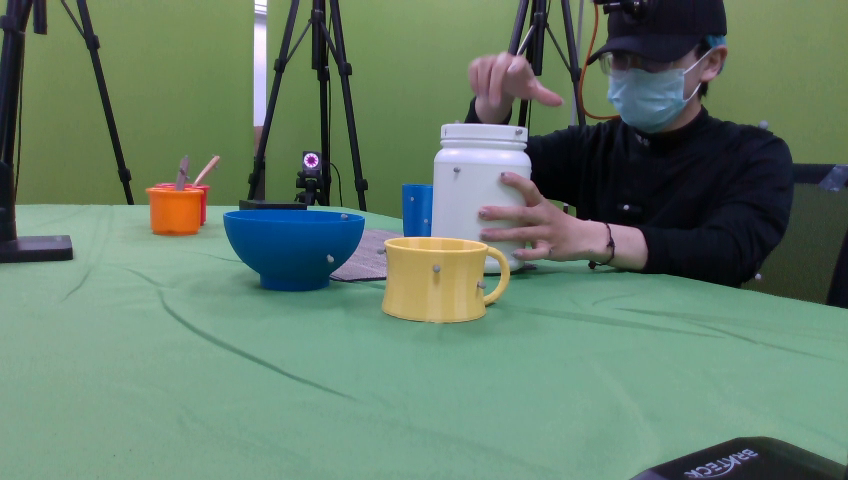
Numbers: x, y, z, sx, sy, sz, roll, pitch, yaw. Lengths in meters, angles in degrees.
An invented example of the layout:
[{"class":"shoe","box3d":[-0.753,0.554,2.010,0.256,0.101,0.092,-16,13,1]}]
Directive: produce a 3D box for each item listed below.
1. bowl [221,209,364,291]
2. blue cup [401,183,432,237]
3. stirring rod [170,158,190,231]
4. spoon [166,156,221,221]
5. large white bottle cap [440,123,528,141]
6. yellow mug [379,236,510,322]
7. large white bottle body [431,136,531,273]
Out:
[{"class":"bowl","box3d":[-0.142,0.011,0.660,0.151,0.077,0.151,2,7,0]},{"class":"blue cup","box3d":[0.002,-0.038,0.966,0.093,0.100,0.092,4,8,0]},{"class":"stirring rod","box3d":[-0.426,-0.082,1.060,0.014,0.006,0.175,1,50,-13]},{"class":"spoon","box3d":[-0.447,-0.104,1.192,0.041,0.022,0.193,7,52,14]},{"class":"large white bottle cap","box3d":[0.079,-0.141,0.796,0.115,0.018,0.115,3,8,0]},{"class":"yellow mug","box3d":[0.024,0.034,0.575,0.131,0.064,0.099,1,7,-22]},{"class":"large white bottle body","box3d":[0.075,-0.056,0.807,0.131,0.184,0.130,2,7,0]}]
